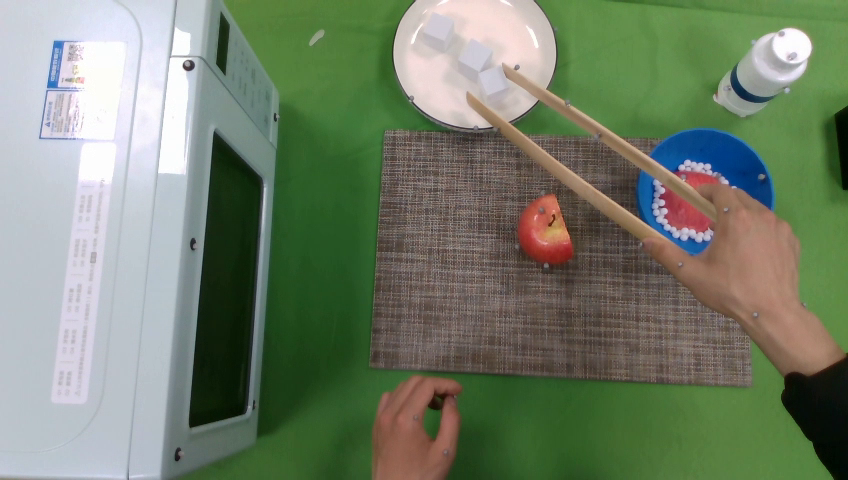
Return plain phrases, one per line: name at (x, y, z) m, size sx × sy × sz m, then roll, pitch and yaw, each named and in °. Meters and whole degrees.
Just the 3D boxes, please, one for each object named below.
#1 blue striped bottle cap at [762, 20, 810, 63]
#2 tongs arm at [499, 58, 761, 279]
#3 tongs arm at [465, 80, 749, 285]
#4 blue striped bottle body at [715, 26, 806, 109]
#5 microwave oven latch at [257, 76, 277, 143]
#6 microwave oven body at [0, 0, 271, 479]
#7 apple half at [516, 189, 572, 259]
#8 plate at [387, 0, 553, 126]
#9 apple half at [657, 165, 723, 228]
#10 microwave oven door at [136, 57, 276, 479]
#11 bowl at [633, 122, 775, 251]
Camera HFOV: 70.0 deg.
blue striped bottle cap at (0.399, -0.218, 0.667) m, size 0.044 × 0.021 × 0.044 m, roll 0°, pitch 82°, yaw 2°
tongs arm at (0.190, -0.095, 0.640) m, size 0.051 × 0.027 × 0.380 m, roll -38°, pitch 55°, yaw -11°
tongs arm at (0.163, -0.076, 0.635) m, size 0.028 × 0.028 × 0.383 m, roll -34°, pitch 54°, yaw -13°
blue striped bottle body at (0.401, -0.207, 0.716) m, size 0.063 × 0.121 × 0.063 m, roll 0°, pitch 79°, yaw 2°
microwave oven latch at (-0.198, -0.161, 0.748) m, size 0.030 × 0.029 × 0.079 m, roll 0°, pitch 81°, yaw 1°
microwave oven body at (-0.353, -0.007, 0.627) m, size 0.326 × 0.261 × 0.440 m, roll 1°, pitch 80°, yaw 1°
apple half at (0.135, -0.014, 0.710) m, size 0.053 × 0.075 × 0.080 m, roll -17°, pitch 83°, yaw 2°
plate at (0.058, -0.240, 0.774) m, size 0.208 × 0.039 × 0.207 m, roll 0°, pitch 80°, yaw 1°
apple half at (0.314, -0.054, 0.705) m, size 0.081 × 0.033 × 0.081 m, roll 0°, pitch 77°, yaw 1°
microwave oven door at (-0.207, 0.035, 0.611) m, size 0.039 × 0.245 × 0.354 m, roll 0°, pitch 80°, yaw 2°
bowl at (0.313, -0.054, 0.710) m, size 0.151 × 0.077 × 0.151 m, roll 0°, pitch 80°, yaw 2°
